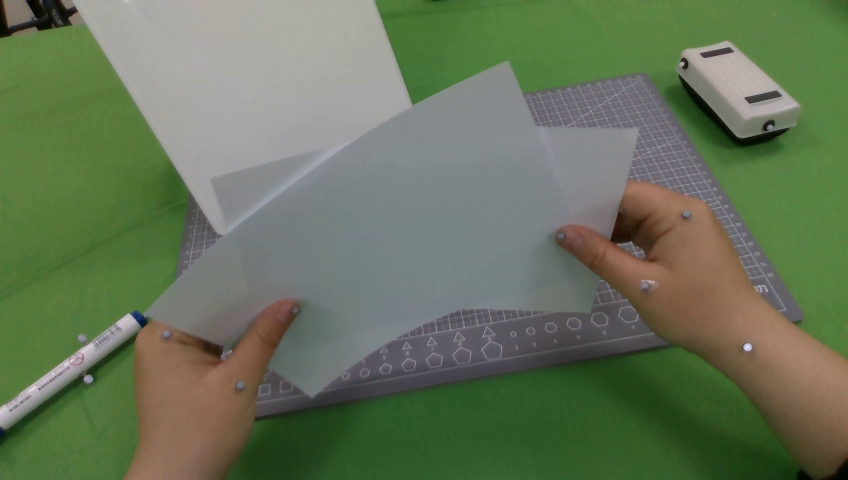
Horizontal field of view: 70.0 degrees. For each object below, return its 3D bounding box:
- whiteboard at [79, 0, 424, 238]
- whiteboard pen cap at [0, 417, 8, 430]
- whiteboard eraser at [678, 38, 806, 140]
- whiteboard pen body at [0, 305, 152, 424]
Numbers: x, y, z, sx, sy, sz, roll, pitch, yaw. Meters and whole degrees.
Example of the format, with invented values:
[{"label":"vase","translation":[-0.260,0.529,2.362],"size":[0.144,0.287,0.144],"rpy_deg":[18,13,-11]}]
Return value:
[{"label":"whiteboard","translation":[-0.167,-0.200,0.523],"size":[0.217,0.308,0.142],"rpy_deg":[-34,33,-19]},{"label":"whiteboard pen cap","translation":[-0.299,0.128,0.407],"size":[0.018,0.018,0.033],"rpy_deg":[32,59,29]},{"label":"whiteboard eraser","translation":[0.281,-0.136,0.543],"size":[0.055,0.042,0.111],"rpy_deg":[-16,50,-3]},{"label":"whiteboard pen body","translation":[-0.259,0.095,0.433],"size":[0.017,0.017,0.140],"rpy_deg":[33,60,30]}]
